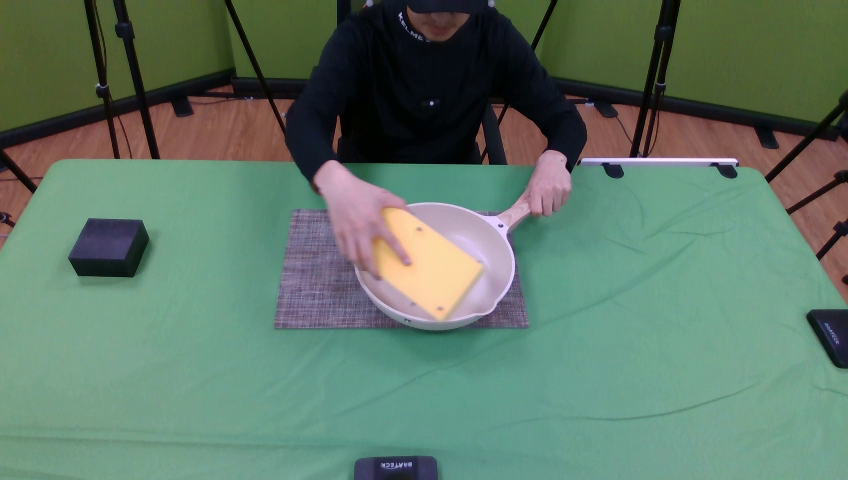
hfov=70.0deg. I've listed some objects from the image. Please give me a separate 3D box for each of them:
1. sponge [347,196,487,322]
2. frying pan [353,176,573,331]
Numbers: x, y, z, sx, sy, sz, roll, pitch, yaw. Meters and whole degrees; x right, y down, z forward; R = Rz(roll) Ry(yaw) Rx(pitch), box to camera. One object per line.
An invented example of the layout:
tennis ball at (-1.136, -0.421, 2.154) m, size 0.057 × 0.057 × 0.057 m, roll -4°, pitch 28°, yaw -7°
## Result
sponge at (-0.011, 0.034, 1.025) m, size 0.206 × 0.061 × 0.118 m, roll 36°, pitch 86°, yaw 12°
frying pan at (0.102, -0.001, 1.142) m, size 0.488 × 0.103 × 0.305 m, roll -31°, pitch 56°, yaw -19°
